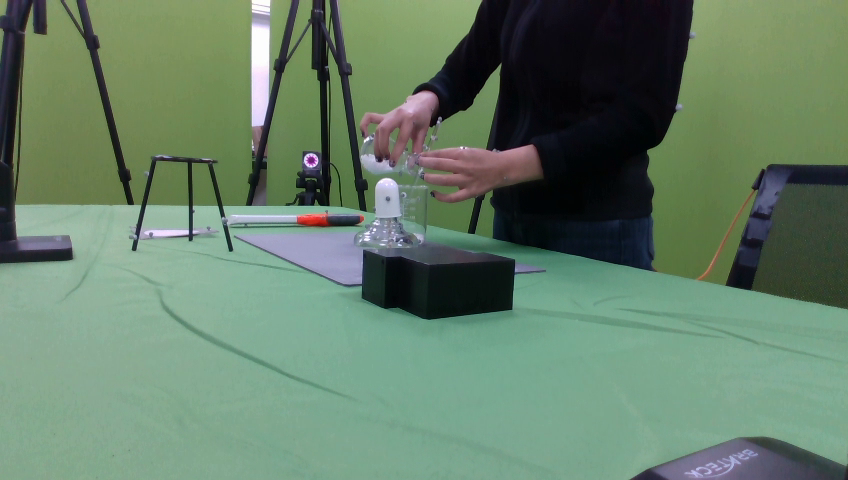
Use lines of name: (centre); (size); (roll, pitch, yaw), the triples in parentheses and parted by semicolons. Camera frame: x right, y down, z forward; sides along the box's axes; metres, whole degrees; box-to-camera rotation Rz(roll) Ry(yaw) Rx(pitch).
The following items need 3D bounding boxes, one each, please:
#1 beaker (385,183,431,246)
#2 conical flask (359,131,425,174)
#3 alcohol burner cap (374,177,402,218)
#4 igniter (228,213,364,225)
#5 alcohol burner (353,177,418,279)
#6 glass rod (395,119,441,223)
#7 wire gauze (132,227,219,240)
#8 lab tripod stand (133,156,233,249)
beaker: (-0.031, -0.043, 1.000); (0.084, 0.100, 0.074); (4, 7, 15)
conical flask: (-0.050, -0.140, 1.024); (0.076, 0.075, 0.121); (-4, 18, -39)
alcohol burner cap: (-0.044, -0.049, 0.704); (0.034, 0.048, 0.034); (-4, 9, 1)
igniter: (-0.252, -0.043, 1.227); (0.278, 0.025, 0.057); (-2, -2, -32)
alcohol burner: (-0.044, -0.014, 0.710); (0.078, 0.119, 0.078); (4, 9, 0)
glass rod: (-0.011, -0.108, 0.980); (0.008, 0.199, 0.008); (18, 31, -11)
wire gauze: (-0.421, -0.014, 1.024); (0.122, 0.011, 0.124); (-2, 7, -34)
lab tripod stand: (-0.342, -0.054, 0.878); (0.148, 0.131, 0.148); (4, 6, 0)
